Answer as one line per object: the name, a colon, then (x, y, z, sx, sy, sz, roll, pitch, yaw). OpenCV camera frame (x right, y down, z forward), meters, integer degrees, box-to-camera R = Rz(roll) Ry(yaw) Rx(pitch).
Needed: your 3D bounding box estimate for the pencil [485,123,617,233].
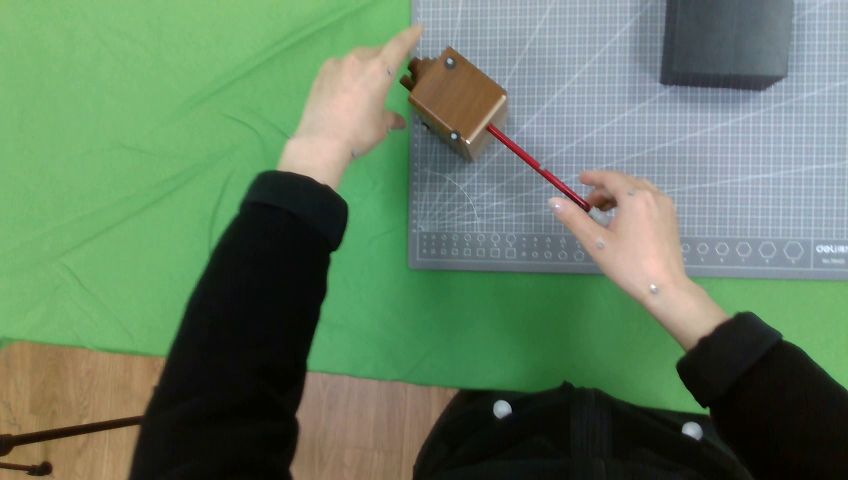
pencil: (0.097, -0.071, 0.548, 0.194, 0.012, 0.012, 40, 94, 3)

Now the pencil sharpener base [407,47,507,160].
pencil sharpener base: (0.033, -0.127, 0.580, 0.076, 0.107, 0.061, 40, 95, 6)

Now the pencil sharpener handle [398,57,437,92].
pencil sharpener handle: (-0.011, -0.157, 0.572, 0.030, 0.068, 0.036, 40, 78, 6)
